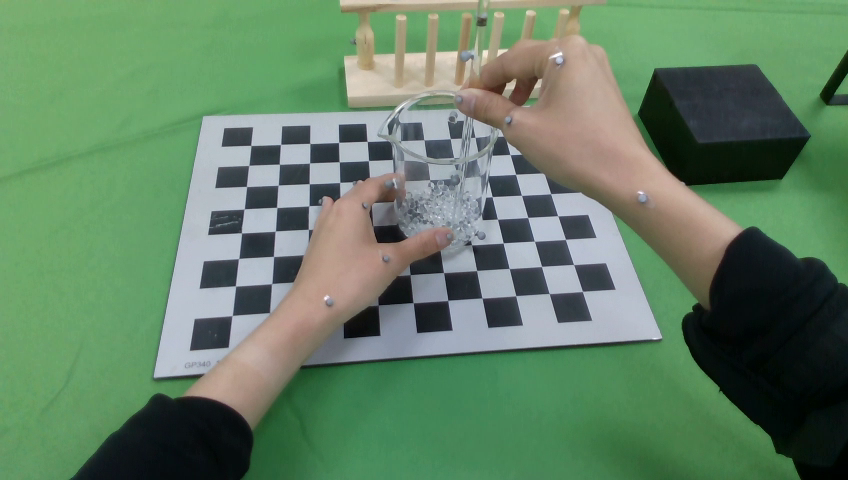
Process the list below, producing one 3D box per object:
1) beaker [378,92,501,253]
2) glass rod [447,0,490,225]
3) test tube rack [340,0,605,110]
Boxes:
[{"bbox_3d":[0.010,-0.045,0.444,0.084,0.101,0.073,-3,50,-4],"label":"beaker"},{"bbox_3d":[0.027,-0.076,0.393,0.008,0.201,0.008,3,51,-3],"label":"glass rod"},{"bbox_3d":[0.046,-0.184,0.574,0.243,0.086,0.066,-5,51,-7],"label":"test tube rack"}]
